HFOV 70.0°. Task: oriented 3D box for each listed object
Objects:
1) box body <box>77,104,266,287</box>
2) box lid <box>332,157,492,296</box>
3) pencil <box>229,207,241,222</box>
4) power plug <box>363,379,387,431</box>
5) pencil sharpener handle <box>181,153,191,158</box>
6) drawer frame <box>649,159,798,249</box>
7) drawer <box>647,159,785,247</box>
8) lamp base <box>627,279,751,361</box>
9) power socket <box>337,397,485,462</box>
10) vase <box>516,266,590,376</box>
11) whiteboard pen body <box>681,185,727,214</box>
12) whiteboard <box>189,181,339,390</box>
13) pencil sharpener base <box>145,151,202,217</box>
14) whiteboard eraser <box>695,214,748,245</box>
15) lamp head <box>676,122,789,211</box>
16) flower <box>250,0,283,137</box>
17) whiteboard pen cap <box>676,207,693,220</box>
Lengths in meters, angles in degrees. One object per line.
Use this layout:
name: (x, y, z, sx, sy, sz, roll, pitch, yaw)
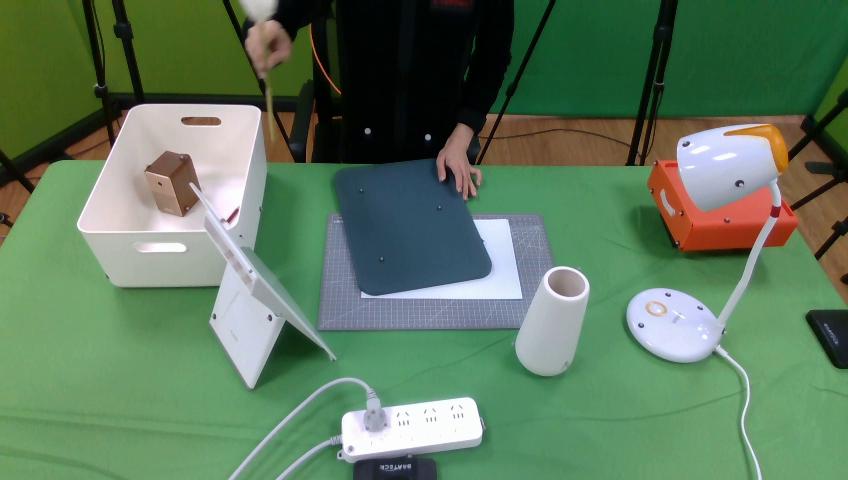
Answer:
box body: (-0.447, -0.088, 1.150, 0.254, 0.161, 0.361, -1, 46, -5)
box lid: (-0.034, -0.041, 1.241, 0.264, 0.015, 0.369, -9, 47, -12)
pencil: (-0.401, -0.008, 1.176, 0.012, 0.012, 0.193, 15, 44, 10)
power plug: (-0.072, 0.252, 0.910, 0.035, 0.053, 0.072, 3, 45, -1)
pencil sharpener handle: (-0.478, -0.156, 1.225, 0.036, 0.068, 0.030, 23, 48, 3)
drawer frame: (0.588, -0.077, 1.219, 0.214, 0.083, 0.200, -2, 45, -5)
drawer: (0.582, -0.079, 1.214, 0.212, 0.073, 0.193, -1, 46, -5)
lamp base: (0.460, 0.100, 1.027, 0.178, 0.181, 0.160, 27, 51, 17)
power socket: (-0.018, 0.285, 0.915, 0.227, 0.033, 0.071, -5, 46, -8)
vase: (0.208, 0.132, 0.964, 0.098, 0.201, 0.097, 3, 46, -3)
whiteboard pen body: (0.571, -0.081, 1.237, 0.141, 0.017, 0.017, -26, 54, -24)
whiteboard: (-0.292, 0.096, 0.929, 0.144, 0.307, 0.216, -37, 57, -10)
pencil sharpener base: (-0.491, -0.112, 1.199, 0.061, 0.107, 0.076, 15, 47, 12)
whiteboard eraser: (0.592, -0.019, 1.209, 0.113, 0.042, 0.055, 11, 27, -36)
lamp head: (0.423, -0.104, 0.819, 0.122, 0.113, 0.112, -13, 33, 40)
flower: (-0.248, -0.267, 0.963, 0.044, 0.362, 0.038, 36, 63, 4)
whiteboard pen cap: (0.524, -0.053, 1.216, 0.033, 0.018, 0.018, -28, 54, -23)
